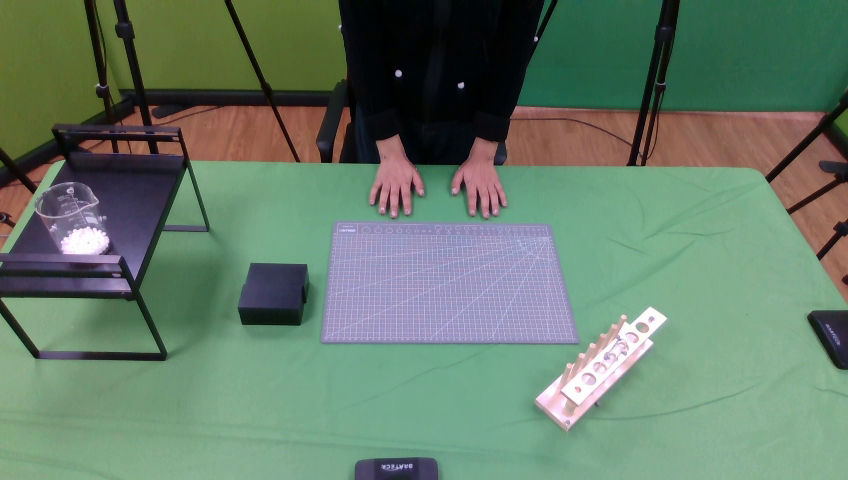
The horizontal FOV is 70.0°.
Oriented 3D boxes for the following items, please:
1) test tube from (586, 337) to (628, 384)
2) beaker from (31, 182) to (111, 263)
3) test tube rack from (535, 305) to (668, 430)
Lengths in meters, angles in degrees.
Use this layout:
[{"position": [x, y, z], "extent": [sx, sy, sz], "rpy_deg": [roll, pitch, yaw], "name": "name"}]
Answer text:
[{"position": [0.273, 0.191, 0.916], "extent": [0.017, 0.151, 0.017], "rpy_deg": [5, 50, -6], "name": "test tube"}, {"position": [-0.502, -0.022, 0.877], "extent": [0.084, 0.101, 0.073], "rpy_deg": [-2, 47, -7], "name": "beaker"}, {"position": [0.290, 0.193, 0.984], "extent": [0.242, 0.085, 0.066], "rpy_deg": [-32, 56, -30], "name": "test tube rack"}]
